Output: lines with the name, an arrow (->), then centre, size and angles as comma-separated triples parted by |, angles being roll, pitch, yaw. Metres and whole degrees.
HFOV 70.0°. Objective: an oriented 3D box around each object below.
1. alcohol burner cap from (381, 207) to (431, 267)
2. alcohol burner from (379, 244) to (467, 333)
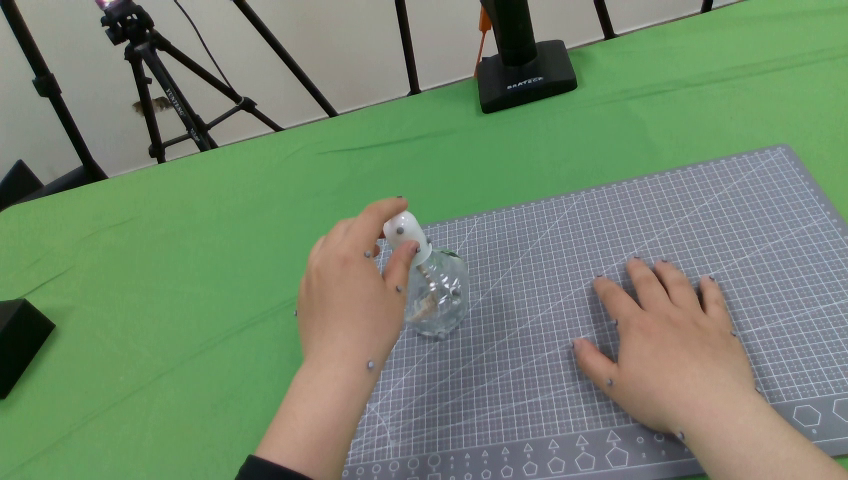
alcohol burner cap -> -0.016, -0.005, 0.481 | 0.034, 0.048, 0.033 | -11, 47, 13
alcohol burner -> -0.005, 0.023, 0.508 | 0.078, 0.120, 0.077 | -11, 43, 11
